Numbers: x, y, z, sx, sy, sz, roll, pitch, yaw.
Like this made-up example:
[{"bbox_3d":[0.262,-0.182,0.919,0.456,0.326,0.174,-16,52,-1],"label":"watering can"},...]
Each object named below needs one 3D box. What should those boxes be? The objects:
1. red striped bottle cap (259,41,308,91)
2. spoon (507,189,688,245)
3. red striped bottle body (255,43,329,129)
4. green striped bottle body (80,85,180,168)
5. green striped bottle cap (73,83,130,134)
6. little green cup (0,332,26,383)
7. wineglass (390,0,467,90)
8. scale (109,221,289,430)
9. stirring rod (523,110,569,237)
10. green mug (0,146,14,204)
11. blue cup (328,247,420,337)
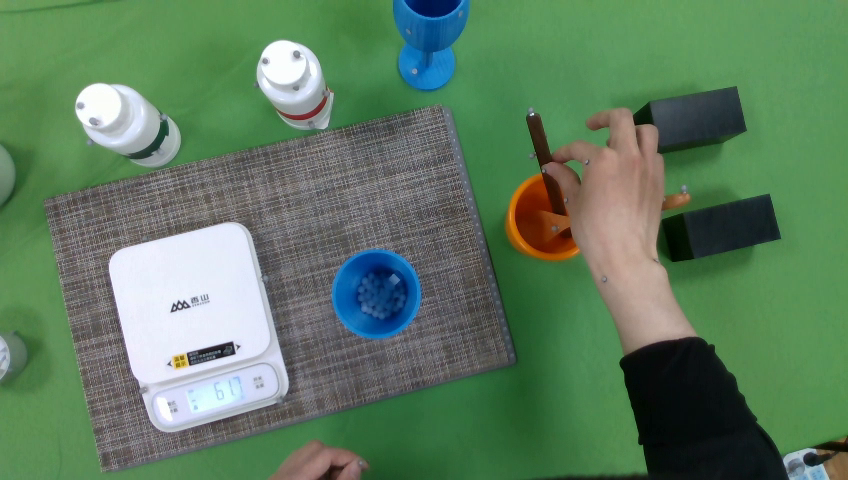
[{"bbox_3d":[-0.133,-0.165,0.573,0.044,0.018,0.044,0,83,-1],"label":"red striped bottle cap"},{"bbox_3d":[0.168,-0.025,0.614,0.022,0.193,0.041,-13,92,-47],"label":"spoon"},{"bbox_3d":[-0.135,-0.160,0.626,0.063,0.120,0.063,0,85,-3],"label":"red striped bottle body"},{"bbox_3d":[-0.300,-0.115,0.615,0.063,0.119,0.063,0,85,-2],"label":"green striped bottle body"},{"bbox_3d":[-0.297,-0.122,0.559,0.044,0.020,0.044,0,85,-1],"label":"green striped bottle cap"},{"bbox_3d":[-0.451,0.122,0.629,0.061,0.038,0.061,0,85,-4],"label":"little green cup"},{"bbox_3d":[0.002,-0.212,0.609,0.074,0.172,0.073,0,85,-2],"label":"wineglass"},{"bbox_3d":[-0.237,0.090,0.641,0.149,0.031,0.200,-15,87,-3],"label":"scale"},{"bbox_3d":[0.126,-0.061,0.614,0.014,0.178,0.006,2,52,27],"label":"stirring rod"},{"bbox_3d":[-0.493,-0.057,0.609,0.092,0.105,0.125,21,85,-1],"label":"green mug"},{"bbox_3d":[-0.047,0.053,0.618,0.093,0.100,0.092,0,86,-1],"label":"blue cup"}]
